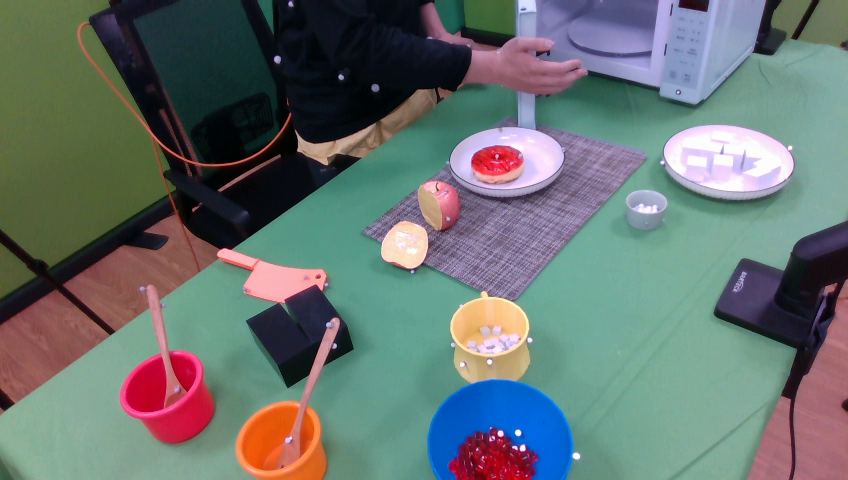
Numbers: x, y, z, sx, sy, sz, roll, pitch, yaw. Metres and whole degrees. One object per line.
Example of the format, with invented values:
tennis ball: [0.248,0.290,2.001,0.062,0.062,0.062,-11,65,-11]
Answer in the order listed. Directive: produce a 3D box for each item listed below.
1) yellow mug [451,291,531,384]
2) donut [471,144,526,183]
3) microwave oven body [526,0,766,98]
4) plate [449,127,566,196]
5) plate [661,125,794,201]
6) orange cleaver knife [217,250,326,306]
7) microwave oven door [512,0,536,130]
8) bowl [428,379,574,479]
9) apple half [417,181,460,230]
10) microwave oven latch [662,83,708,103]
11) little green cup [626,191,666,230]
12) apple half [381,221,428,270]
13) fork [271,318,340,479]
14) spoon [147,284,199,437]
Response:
yellow mug: [0.085,0.120,0.786,0.100,0.064,0.130,-7,39,1]
donut: [0.134,-0.139,1.083,0.099,0.048,0.098,-6,38,5]
microwave oven body: [0.472,-0.513,1.317,0.438,0.261,0.327,26,51,34]
plate: [0.150,-0.138,1.097,0.209,0.038,0.208,-4,39,4]
plate: [0.514,-0.128,1.036,0.207,0.039,0.206,-4,40,4]
orange cleaver knife: [-0.248,0.058,0.945,0.210,0.012,0.077,12,49,20]
microwave oven door: [0.202,-0.407,1.225,0.039,0.245,0.354,-2,41,7]
bowl: [0.082,0.233,0.645,0.151,0.077,0.150,-4,39,4]
apple half: [0.030,-0.060,0.995,0.053,0.075,0.080,-23,39,-23]
microwave oven latch: [0.518,-0.296,1.204,0.078,0.029,0.030,27,52,35]
little green cup: [0.352,-0.046,0.963,0.061,0.039,0.061,-4,40,4]
apple half: [-0.025,0.012,0.946,0.081,0.033,0.081,-5,73,16]
fork: [-0.132,0.186,0.676,0.028,0.019,0.207,17,90,28]
spoon: [-0.318,0.148,0.754,0.042,0.021,0.193,-14,85,-9]
